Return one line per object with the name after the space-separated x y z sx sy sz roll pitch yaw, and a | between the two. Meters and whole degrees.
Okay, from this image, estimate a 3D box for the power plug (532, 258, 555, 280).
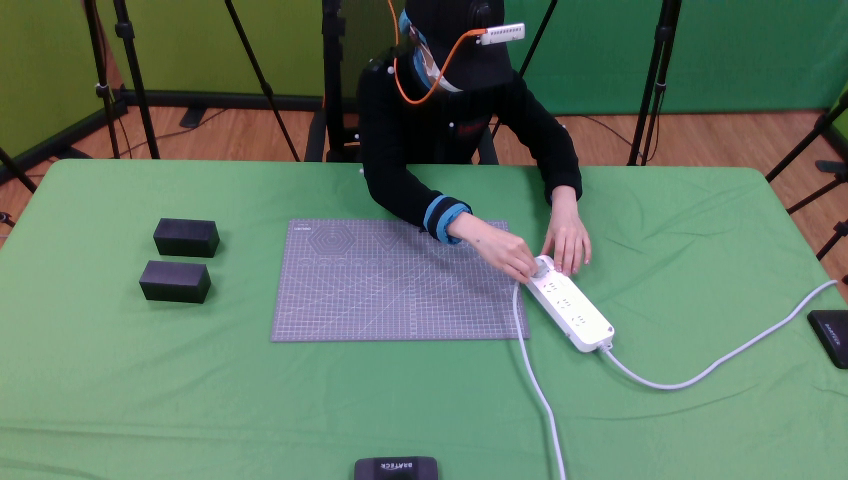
0.233 0.059 1.116 0.073 0.035 0.052 26 37 -13 | power plug

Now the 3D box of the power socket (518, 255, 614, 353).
0.254 0.111 1.098 0.072 0.033 0.225 -18 50 -21 | power socket
